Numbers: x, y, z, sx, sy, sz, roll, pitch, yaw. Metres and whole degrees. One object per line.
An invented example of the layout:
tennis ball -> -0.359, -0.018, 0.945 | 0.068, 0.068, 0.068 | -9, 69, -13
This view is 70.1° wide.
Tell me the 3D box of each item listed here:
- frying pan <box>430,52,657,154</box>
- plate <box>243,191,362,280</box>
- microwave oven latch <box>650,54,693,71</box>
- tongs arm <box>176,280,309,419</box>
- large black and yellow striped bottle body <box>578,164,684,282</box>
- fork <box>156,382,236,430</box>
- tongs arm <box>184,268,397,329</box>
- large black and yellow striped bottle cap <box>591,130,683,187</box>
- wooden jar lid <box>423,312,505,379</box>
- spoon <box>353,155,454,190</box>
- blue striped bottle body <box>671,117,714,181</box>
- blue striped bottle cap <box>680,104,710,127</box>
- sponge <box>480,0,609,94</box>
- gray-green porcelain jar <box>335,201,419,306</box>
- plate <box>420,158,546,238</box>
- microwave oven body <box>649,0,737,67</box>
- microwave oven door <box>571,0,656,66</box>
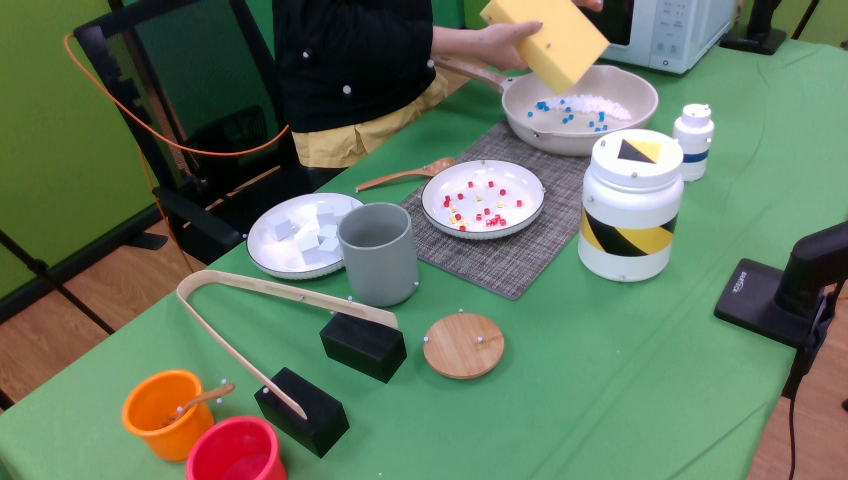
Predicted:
frying pan -> 0.214, -0.302, 1.223 | 0.484, 0.103, 0.308 | 29, 49, 24
plate -> -0.188, -0.005, 0.992 | 0.207, 0.039, 0.206 | -4, 41, 3
microwave oven latch -> 0.531, -0.386, 1.301 | 0.078, 0.029, 0.030 | 26, 51, 33
tongs arm -> -0.254, 0.133, 0.801 | 0.028, 0.028, 0.384 | -41, 41, -23
large black and yellow striped bottle body -> 0.291, -0.046, 0.859 | 0.131, 0.185, 0.130 | -4, 41, 4
fork -> -0.262, 0.189, 0.690 | 0.018, 0.206, 0.028 | 48, 43, -7
tongs arm -> -0.202, 0.084, 0.848 | 0.382, 0.027, 0.051 | 11, 45, 35
large black and yellow striped bottle cap -> 0.282, -0.111, 0.803 | 0.115, 0.019, 0.114 | -3, 41, 3
wooden jar lid -> 0.053, 0.142, 0.800 | 0.108, 0.021, 0.108 | -5, 39, 4
spoon -> -0.038, -0.123, 1.116 | 0.194, 0.022, 0.041 | -12, 58, -4
blue striped bottle body -> 0.449, -0.165, 1.022 | 0.063, 0.121, 0.063 | -5, 41, 4
blue striped bottle cap -> 0.443, -0.205, 0.989 | 0.044, 0.021, 0.044 | -1, 41, 2
sponge -> 0.218, -0.381, 1.088 | 0.118, 0.207, 0.060 | -51, 10, -18
gray-green porcelain jar -> -0.064, 0.024, 0.872 | 0.106, 0.127, 0.105 | -4, 41, 4
plate -> 0.099, -0.067, 1.017 | 0.209, 0.038, 0.208 | -4, 40, 4
microwave oven body -> 0.475, -0.602, 1.411 | 0.438, 0.261, 0.327 | 23, 50, 32
microwave oven door -> 0.351, -0.540, 1.349 | 0.353, 0.245, 0.039 | 24, 50, 31
